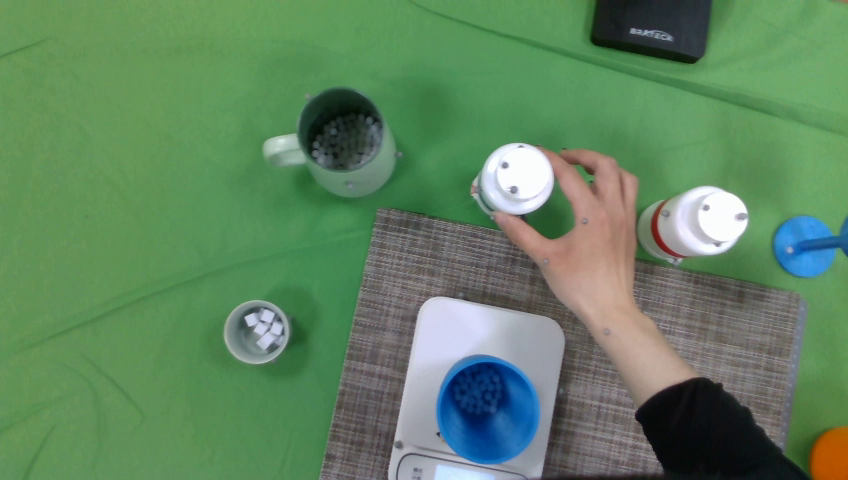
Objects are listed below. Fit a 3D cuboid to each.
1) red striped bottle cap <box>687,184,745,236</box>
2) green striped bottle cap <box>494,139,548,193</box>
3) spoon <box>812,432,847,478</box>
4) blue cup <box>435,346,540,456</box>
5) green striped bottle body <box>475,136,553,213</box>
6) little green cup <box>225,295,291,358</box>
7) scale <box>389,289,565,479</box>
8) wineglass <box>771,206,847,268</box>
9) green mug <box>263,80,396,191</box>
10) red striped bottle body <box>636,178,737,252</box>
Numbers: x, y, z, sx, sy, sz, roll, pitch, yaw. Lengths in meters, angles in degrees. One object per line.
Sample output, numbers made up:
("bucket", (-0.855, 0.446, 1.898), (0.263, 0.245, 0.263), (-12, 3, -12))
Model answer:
("red striped bottle cap", (0.253, -0.026, 0.523), (0.044, 0.018, 0.044), (0, 83, -2))
("green striped bottle cap", (0.081, -0.061, 0.502), (0.044, 0.020, 0.044), (0, 89, 1))
("spoon", (0.459, 0.237, 0.551), (0.022, 0.192, 0.041), (23, 94, -43))
("blue cup", (0.051, 0.133, 0.537), (0.093, 0.100, 0.092), (0, 89, -1))
("green striped bottle body", (0.081, -0.059, 0.558), (0.063, 0.119, 0.063), (0, 90, 1))
("little green cup", (-0.161, 0.084, 0.601), (0.061, 0.038, 0.061), (0, 88, -2))
("scale", (0.053, 0.157, 0.601), (0.149, 0.031, 0.200), (11, 87, 0))
("wineglass", (0.398, -0.010, 0.552), (0.074, 0.172, 0.073), (0, 86, 0))
("green mug", (-0.091, -0.095, 0.581), (0.125, 0.105, 0.092), (-10, 87, -1))
("red striped bottle body", (0.253, -0.023, 0.576), (0.063, 0.120, 0.063), (0, 86, -1))
